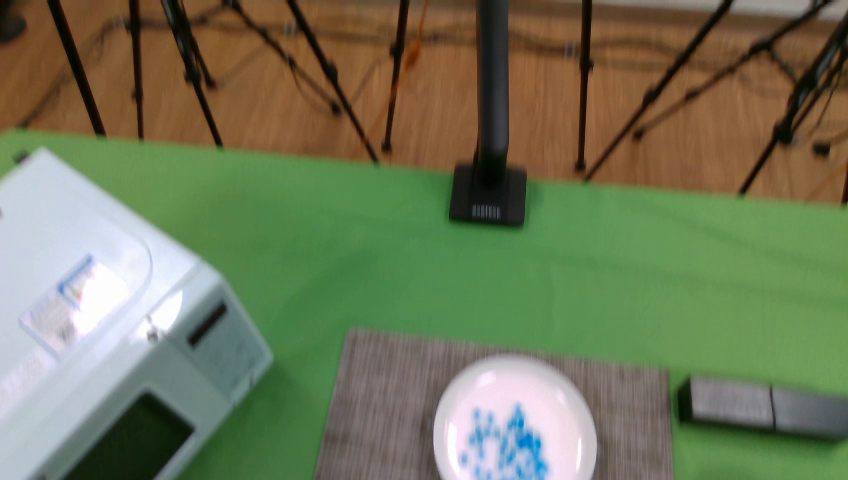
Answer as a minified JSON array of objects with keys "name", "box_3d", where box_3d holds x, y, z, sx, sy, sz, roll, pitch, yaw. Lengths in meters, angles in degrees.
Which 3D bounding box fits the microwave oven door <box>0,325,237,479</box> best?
[{"name":"microwave oven door","box_3d":[-0.365,0.272,0.634,0.039,0.246,0.355,30,64,19]}]

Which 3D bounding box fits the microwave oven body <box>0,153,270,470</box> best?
[{"name":"microwave oven body","box_3d":[-0.460,0.175,0.700,0.324,0.262,0.440,31,65,18]}]

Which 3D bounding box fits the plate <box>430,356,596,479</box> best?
[{"name":"plate","box_3d":[0.111,0.252,0.772,0.208,0.039,0.205,0,59,1]}]

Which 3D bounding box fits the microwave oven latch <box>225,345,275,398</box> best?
[{"name":"microwave oven latch","box_3d":[-0.235,0.171,0.811,0.030,0.030,0.079,33,66,18]}]
